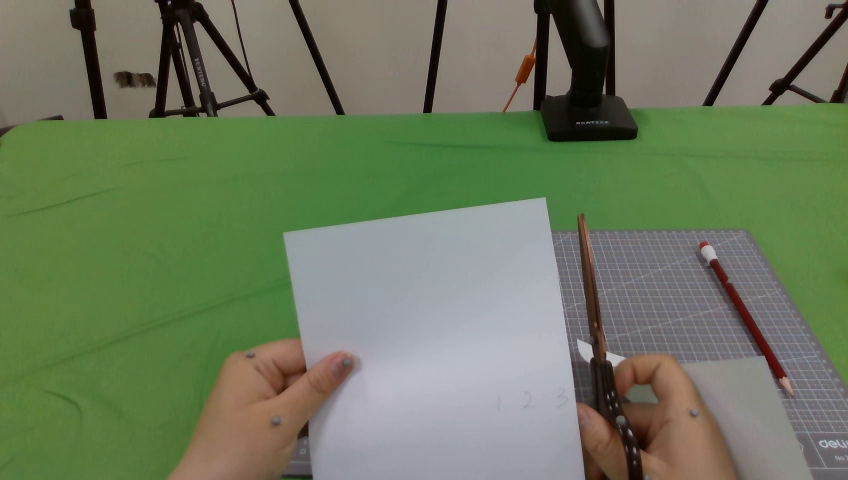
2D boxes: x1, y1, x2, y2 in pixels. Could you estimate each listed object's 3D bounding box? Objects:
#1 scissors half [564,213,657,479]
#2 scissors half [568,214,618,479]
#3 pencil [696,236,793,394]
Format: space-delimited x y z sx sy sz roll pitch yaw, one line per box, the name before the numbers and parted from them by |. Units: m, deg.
scissors half | 0.104 0.067 0.348 0.013 0.040 0.174 -12 77 -7
scissors half | 0.102 0.070 0.368 0.013 0.175 0.040 -11 4 -12
pencil | 0.285 0.059 0.546 0.012 0.012 0.192 -3 39 0
